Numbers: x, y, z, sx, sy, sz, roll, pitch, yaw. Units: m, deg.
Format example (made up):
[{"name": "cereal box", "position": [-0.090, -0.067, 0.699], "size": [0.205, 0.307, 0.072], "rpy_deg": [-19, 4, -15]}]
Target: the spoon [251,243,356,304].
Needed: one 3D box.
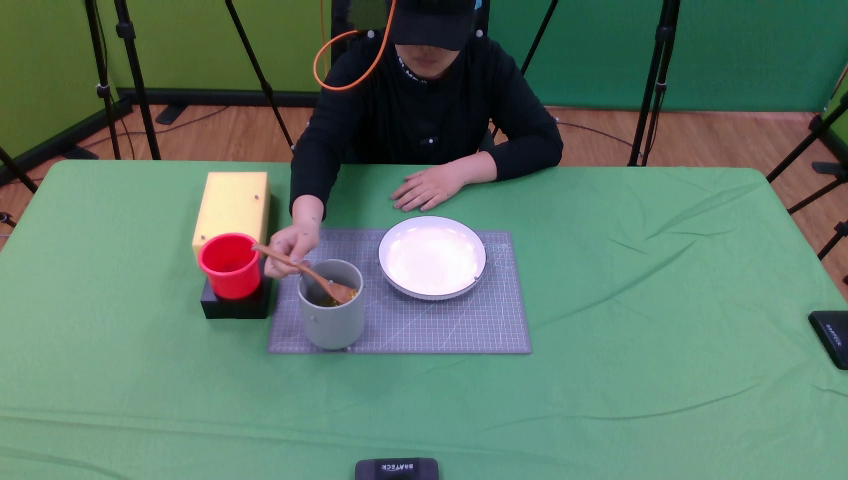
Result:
[{"name": "spoon", "position": [-0.185, 0.051, 0.956], "size": [0.195, 0.021, 0.041], "rpy_deg": [36, 31, -26]}]

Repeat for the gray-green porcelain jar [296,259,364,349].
[{"name": "gray-green porcelain jar", "position": [-0.152, 0.111, 1.003], "size": [0.106, 0.127, 0.105], "rpy_deg": [2, 46, -2]}]

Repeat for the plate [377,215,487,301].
[{"name": "plate", "position": [0.015, 0.037, 1.147], "size": [0.208, 0.039, 0.206], "rpy_deg": [2, 46, -2]}]

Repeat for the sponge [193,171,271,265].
[{"name": "sponge", "position": [-0.371, -0.046, 1.188], "size": [0.118, 0.061, 0.205], "rpy_deg": [-3, 46, -6]}]
